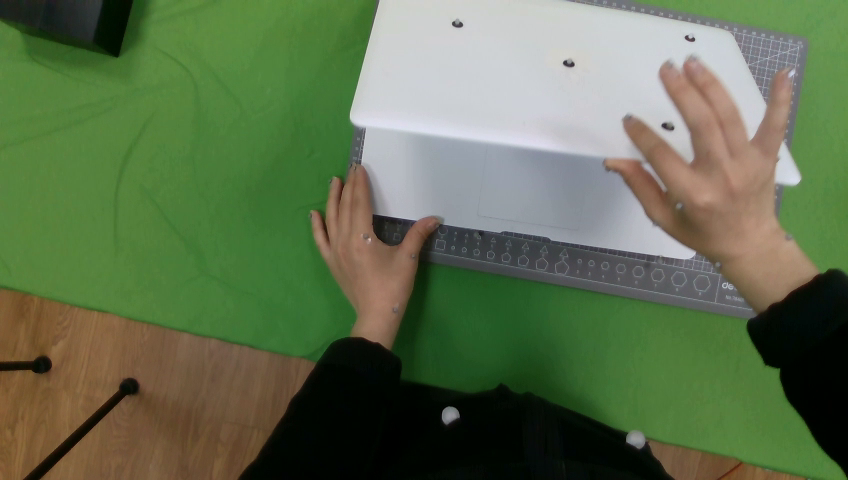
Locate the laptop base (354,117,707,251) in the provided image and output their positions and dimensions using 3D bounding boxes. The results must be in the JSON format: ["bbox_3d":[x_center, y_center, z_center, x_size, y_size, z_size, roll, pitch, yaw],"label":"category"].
[{"bbox_3d":[0.118,-0.128,0.615,0.355,0.023,0.235,8,95,-3],"label":"laptop base"}]

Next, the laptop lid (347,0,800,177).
[{"bbox_3d":[0.125,-0.158,0.527,0.357,0.013,0.239,9,49,-1],"label":"laptop lid"}]
